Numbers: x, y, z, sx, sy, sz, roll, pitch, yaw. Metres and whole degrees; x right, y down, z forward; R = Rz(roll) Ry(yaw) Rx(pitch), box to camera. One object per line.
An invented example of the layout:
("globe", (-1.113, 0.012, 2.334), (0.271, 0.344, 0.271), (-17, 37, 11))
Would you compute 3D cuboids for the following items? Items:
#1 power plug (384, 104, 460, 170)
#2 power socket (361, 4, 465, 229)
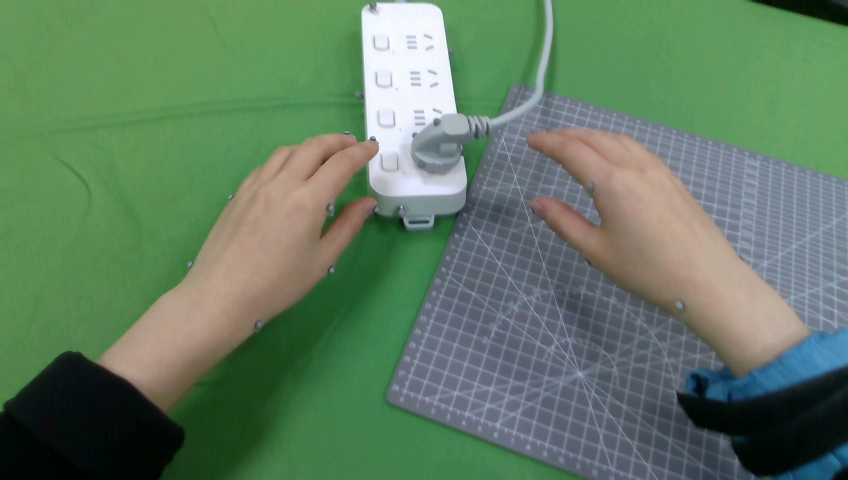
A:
("power plug", (-0.009, -0.078, 0.436), (0.072, 0.035, 0.052), (16, 61, 32))
("power socket", (-0.013, -0.111, 0.483), (0.072, 0.033, 0.224), (-1, 58, -6))
